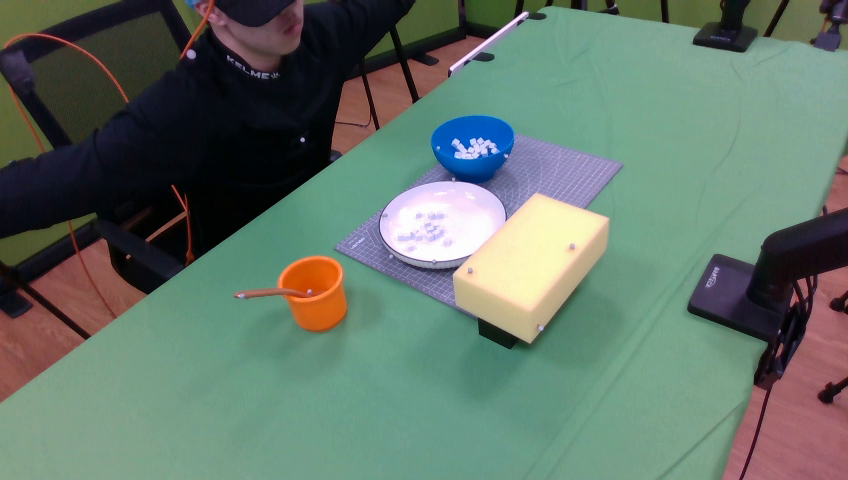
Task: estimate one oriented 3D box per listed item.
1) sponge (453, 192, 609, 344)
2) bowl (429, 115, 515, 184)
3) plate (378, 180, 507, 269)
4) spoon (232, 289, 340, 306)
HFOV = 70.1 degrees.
[{"bbox_3d":[0.147,0.029,0.808,0.117,0.061,0.207,23,50,31],"label":"sponge"},{"bbox_3d":[0.089,-0.154,1.089,0.151,0.077,0.150,-4,41,4],"label":"bowl"},{"bbox_3d":[0.031,-0.022,0.974,0.209,0.038,0.208,-4,40,4],"label":"plate"},{"bbox_3d":[-0.181,0.074,0.812,0.041,0.195,0.021,16,90,31],"label":"spoon"}]
